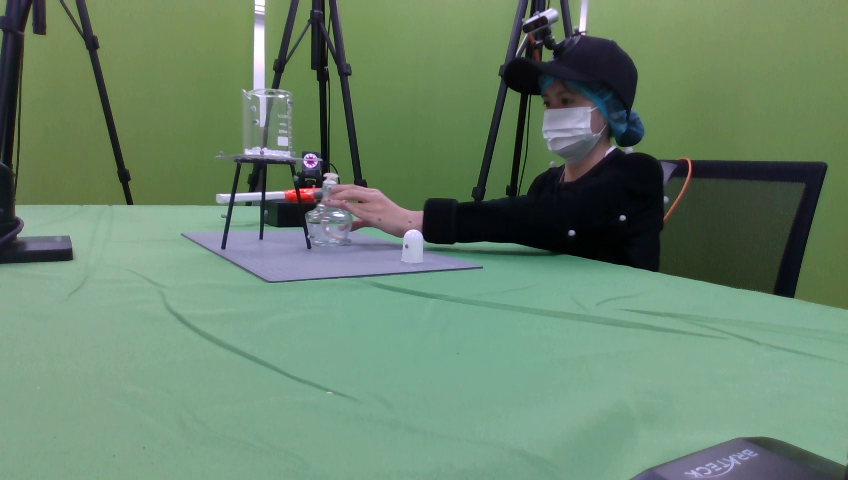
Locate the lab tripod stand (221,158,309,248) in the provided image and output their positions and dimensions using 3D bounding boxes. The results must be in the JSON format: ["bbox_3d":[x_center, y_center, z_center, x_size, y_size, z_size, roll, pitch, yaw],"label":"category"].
[{"bbox_3d":[-0.244,-0.057,0.917,0.148,0.131,0.148,1,7,0],"label":"lab tripod stand"}]

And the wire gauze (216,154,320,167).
[{"bbox_3d":[-0.236,-0.121,0.906,0.126,0.011,0.121,0,8,-33],"label":"wire gauze"}]

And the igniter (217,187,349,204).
[{"bbox_3d":[-0.285,-0.093,1.256,0.278,0.025,0.057,-6,12,-34],"label":"igniter"}]

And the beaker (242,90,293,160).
[{"bbox_3d":[-0.235,-0.169,0.900,0.074,0.100,0.084,4,7,23],"label":"beaker"}]

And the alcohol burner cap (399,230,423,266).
[{"bbox_3d":[-0.017,0.010,0.837,0.034,0.048,0.034,3,7,0],"label":"alcohol burner cap"}]

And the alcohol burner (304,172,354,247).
[{"bbox_3d":[-0.151,-0.049,0.967,0.078,0.119,0.078,3,6,0],"label":"alcohol burner"}]
